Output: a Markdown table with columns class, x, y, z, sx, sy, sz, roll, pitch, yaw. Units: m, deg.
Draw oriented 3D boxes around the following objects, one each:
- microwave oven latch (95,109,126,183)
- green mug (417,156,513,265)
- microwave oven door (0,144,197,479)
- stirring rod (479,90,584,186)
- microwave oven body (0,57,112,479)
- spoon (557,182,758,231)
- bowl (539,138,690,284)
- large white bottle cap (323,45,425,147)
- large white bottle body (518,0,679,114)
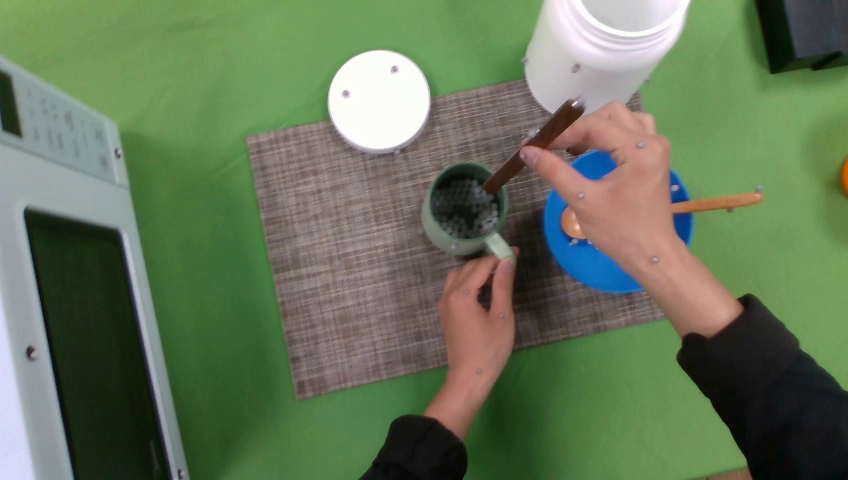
| class | x | y | z | sx | sy | sz | roll | pitch | yaw |
| --- | --- | --- | --- | --- | --- | --- | --- | --- | --- |
| microwave oven latch | -0.349 | -0.099 | 0.655 | 0.030 | 0.029 | 0.079 | -14 | 87 | -2 |
| green mug | 0.049 | -0.026 | 0.634 | 0.092 | 0.105 | 0.125 | -40 | 87 | -3 |
| microwave oven door | -0.298 | 0.105 | 0.541 | 0.039 | 0.244 | 0.355 | -14 | 86 | -1 |
| stirring rod | 0.075 | -0.072 | 0.462 | 0.014 | 0.176 | 0.006 | 23 | 73 | -8 |
| microwave oven body | -0.451 | 0.100 | 0.545 | 0.326 | 0.260 | 0.441 | -14 | 87 | -2 |
| spoon | 0.235 | -0.038 | 0.621 | 0.193 | 0.022 | 0.041 | -6 | 89 | 23 |
| bowl | 0.193 | -0.026 | 0.649 | 0.151 | 0.077 | 0.151 | 0 | 86 | 0 |
| large white bottle cap | -0.056 | -0.162 | 0.685 | 0.115 | 0.018 | 0.114 | 0 | 85 | 0 |
| large white bottle body | 0.171 | -0.217 | 0.607 | 0.130 | 0.185 | 0.130 | 0 | 82 | 0 |
